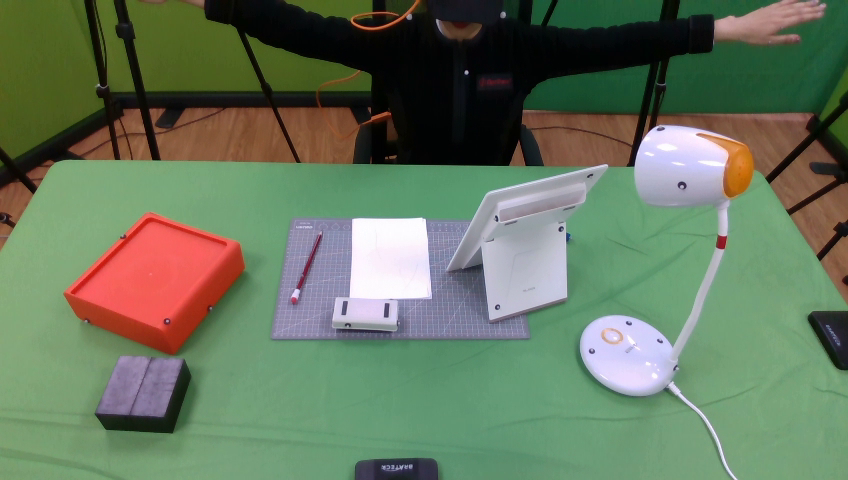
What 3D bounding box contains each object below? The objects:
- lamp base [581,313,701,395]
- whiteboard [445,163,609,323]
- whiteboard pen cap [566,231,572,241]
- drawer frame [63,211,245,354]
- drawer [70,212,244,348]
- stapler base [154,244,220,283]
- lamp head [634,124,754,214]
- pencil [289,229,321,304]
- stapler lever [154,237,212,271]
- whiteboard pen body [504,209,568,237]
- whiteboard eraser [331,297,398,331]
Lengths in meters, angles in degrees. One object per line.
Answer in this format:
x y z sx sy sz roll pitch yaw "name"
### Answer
0.361 0.144 0.973 0.178 0.181 0.160 34 53 23 "lamp base"
0.187 0.026 1.028 0.217 0.306 0.143 -13 68 -17 "whiteboard"
0.282 -0.012 1.230 0.033 0.018 0.018 24 49 15 "whiteboard pen cap"
-0.459 0.067 1.056 0.201 0.083 0.212 17 48 11 "drawer frame"
-0.458 0.065 1.060 0.194 0.073 0.211 18 48 12 "drawer"
-0.434 0.038 1.107 0.130 0.024 0.041 21 45 17 "stapler base"
0.351 -0.089 0.775 0.112 0.113 0.122 -30 30 -28 "lamp head"
-0.221 0.045 1.141 0.012 0.012 0.193 8 44 4 "pencil"
-0.434 0.021 1.091 0.118 0.040 0.027 23 45 15 "stapler lever"
0.230 -0.034 1.248 0.140 0.017 0.017 22 49 15 "whiteboard pen body"
-0.102 0.130 1.046 0.113 0.042 0.055 3 45 -2 "whiteboard eraser"
